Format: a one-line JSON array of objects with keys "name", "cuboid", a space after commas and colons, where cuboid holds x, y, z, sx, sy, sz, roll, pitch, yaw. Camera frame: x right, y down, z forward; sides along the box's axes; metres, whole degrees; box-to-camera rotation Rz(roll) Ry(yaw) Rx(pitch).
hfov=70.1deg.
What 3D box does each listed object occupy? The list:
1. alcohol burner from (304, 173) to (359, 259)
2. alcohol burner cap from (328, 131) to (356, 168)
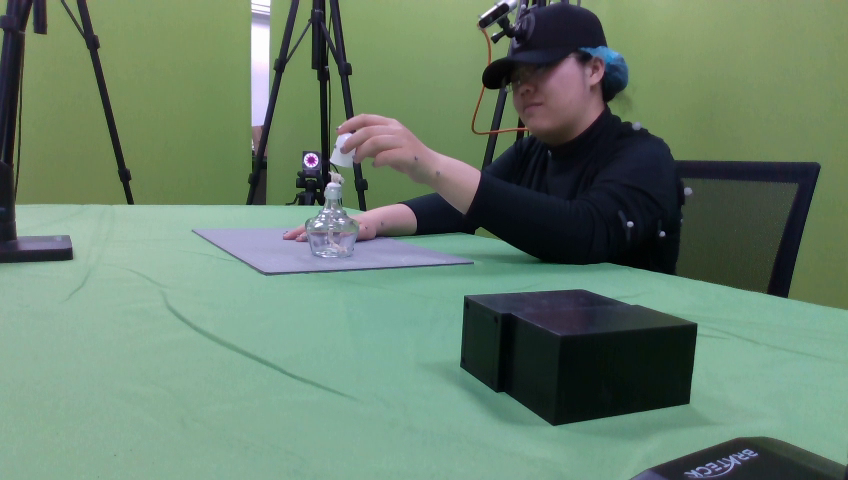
[{"name": "alcohol burner", "cuboid": [-0.130, -0.034, 0.851, 0.078, 0.119, 0.078, 2, 5, 0]}, {"name": "alcohol burner cap", "cuboid": [-0.110, -0.126, 0.832, 0.034, 0.048, 0.034, 16, 15, -4]}]
